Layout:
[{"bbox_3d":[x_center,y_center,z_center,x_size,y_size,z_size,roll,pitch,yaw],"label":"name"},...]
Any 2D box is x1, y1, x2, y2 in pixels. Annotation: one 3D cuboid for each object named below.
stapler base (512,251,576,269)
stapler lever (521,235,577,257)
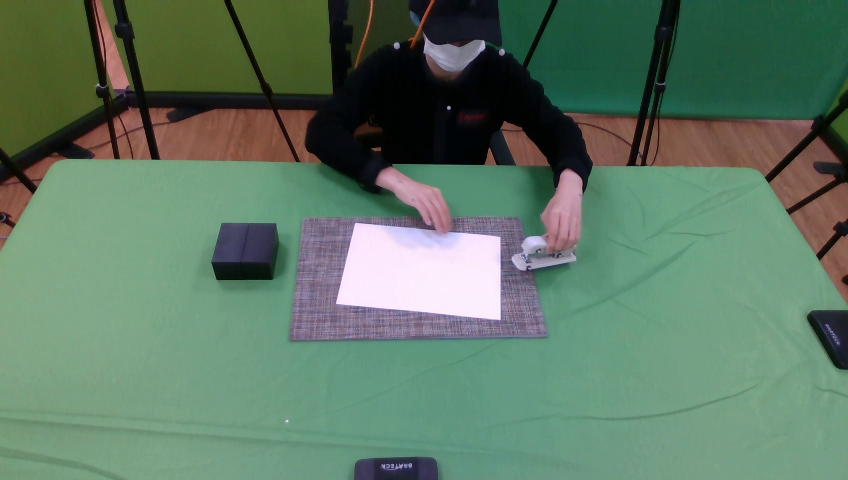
[{"bbox_3d":[0.231,0.027,1.157,0.131,0.024,0.041,-8,46,-23],"label":"stapler base"},{"bbox_3d":[0.237,0.008,1.141,0.118,0.040,0.026,-7,46,-23],"label":"stapler lever"}]
